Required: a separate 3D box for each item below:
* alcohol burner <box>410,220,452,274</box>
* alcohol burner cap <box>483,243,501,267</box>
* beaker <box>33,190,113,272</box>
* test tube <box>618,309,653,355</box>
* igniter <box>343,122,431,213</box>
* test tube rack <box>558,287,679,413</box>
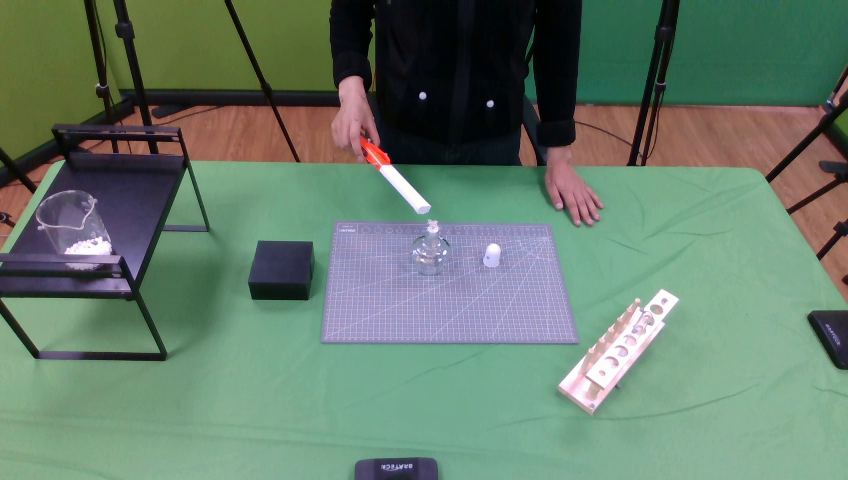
[{"bbox_3d":[0.013,0.007,1.120,0.078,0.120,0.077,1,48,-1],"label":"alcohol burner"},{"bbox_3d":[0.132,0.025,1.161,0.034,0.048,0.033,3,47,-3],"label":"alcohol burner cap"},{"bbox_3d":[-0.493,-0.009,0.865,0.083,0.101,0.074,37,55,27],"label":"beaker"},{"bbox_3d":[0.329,0.155,0.956,0.017,0.151,0.017,2,51,-2],"label":"test tube"},{"bbox_3d":[-0.078,-0.144,1.148,0.057,0.025,0.275,-5,44,-45],"label":"igniter"},{"bbox_3d":[0.326,0.170,1.009,0.066,0.085,0.242,36,54,27],"label":"test tube rack"}]
